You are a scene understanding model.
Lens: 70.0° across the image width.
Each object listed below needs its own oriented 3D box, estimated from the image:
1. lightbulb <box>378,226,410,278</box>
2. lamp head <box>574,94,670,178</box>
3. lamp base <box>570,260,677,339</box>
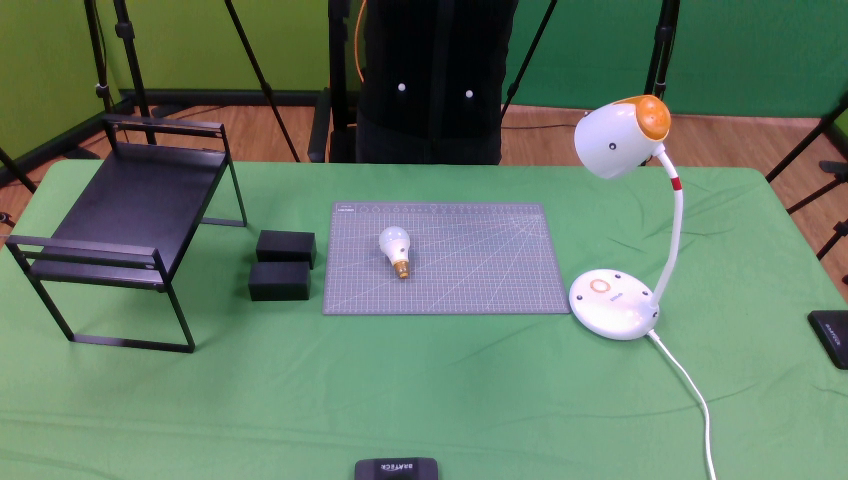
[{"bbox_3d":[-0.051,0.023,1.148,0.059,0.060,0.107,-11,63,-14],"label":"lightbulb"},{"bbox_3d":[0.304,-0.158,0.898,0.113,0.123,0.112,5,79,-25],"label":"lamp head"},{"bbox_3d":[0.360,0.067,1.047,0.178,0.181,0.160,38,55,26],"label":"lamp base"}]
